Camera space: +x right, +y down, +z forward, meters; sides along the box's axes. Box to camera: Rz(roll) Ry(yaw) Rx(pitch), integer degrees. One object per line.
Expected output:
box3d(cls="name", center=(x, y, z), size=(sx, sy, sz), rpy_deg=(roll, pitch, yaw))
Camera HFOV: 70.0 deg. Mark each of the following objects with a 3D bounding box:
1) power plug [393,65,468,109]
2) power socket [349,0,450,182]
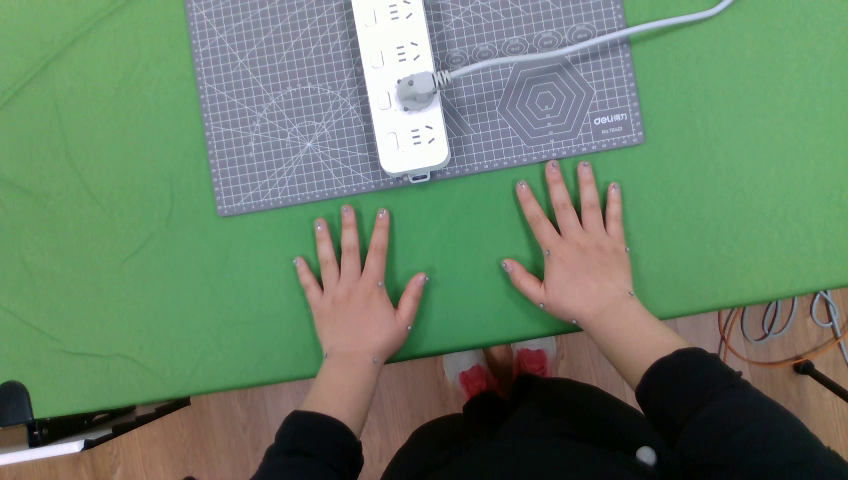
box3d(cls="power plug", center=(0.006, -0.147, 0.593), size=(0.072, 0.052, 0.035), rpy_deg=(0, 90, 3))
box3d(cls="power socket", center=(-0.027, -0.173, 0.614), size=(0.072, 0.032, 0.226), rpy_deg=(-11, 89, 4))
